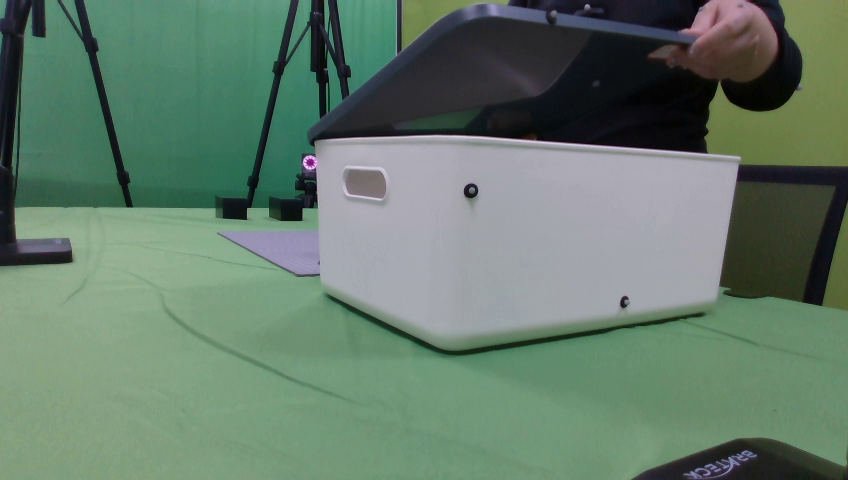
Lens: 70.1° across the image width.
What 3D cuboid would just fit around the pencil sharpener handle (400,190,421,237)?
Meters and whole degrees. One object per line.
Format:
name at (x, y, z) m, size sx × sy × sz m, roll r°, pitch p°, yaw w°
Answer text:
pencil sharpener handle at (-0.016, -0.038, 0.873) m, size 0.031 × 0.067 × 0.036 m, roll -1°, pitch 17°, yaw -30°

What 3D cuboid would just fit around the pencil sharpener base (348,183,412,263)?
pencil sharpener base at (-0.059, -0.024, 0.846) m, size 0.077 × 0.107 × 0.061 m, roll -1°, pitch 8°, yaw -30°

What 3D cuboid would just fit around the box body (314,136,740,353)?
box body at (0.098, -0.012, 0.605) m, size 0.366 × 0.160 × 0.253 m, roll -2°, pitch 8°, yaw -33°

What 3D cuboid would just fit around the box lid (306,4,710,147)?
box lid at (0.089, -0.147, 0.611) m, size 0.373 × 0.015 × 0.262 m, roll -10°, pitch -7°, yaw -39°
